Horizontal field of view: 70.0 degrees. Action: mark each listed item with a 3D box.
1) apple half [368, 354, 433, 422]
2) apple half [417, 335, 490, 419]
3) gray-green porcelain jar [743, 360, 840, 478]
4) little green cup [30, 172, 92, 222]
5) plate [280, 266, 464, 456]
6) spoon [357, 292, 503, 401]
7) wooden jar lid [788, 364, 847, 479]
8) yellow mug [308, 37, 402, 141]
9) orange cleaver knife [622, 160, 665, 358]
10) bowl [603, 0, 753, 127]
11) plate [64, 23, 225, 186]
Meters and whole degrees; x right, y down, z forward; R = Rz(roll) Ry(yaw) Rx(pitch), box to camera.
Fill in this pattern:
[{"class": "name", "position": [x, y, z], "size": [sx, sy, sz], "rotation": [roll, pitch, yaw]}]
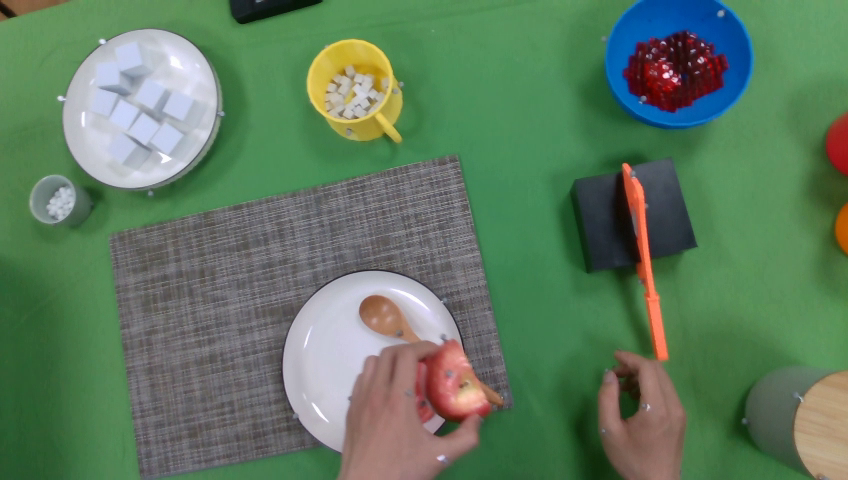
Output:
[{"class": "apple half", "position": [-0.028, 0.166, 0.670], "size": [0.081, 0.033, 0.081], "rotation": [-1, 81, 8]}, {"class": "apple half", "position": [0.022, 0.138, 0.586], "size": [0.053, 0.074, 0.081], "rotation": [-29, 96, -8]}, {"class": "gray-green porcelain jar", "position": [0.380, 0.171, 0.586], "size": [0.106, 0.127, 0.105], "rotation": [-1, 82, 8]}, {"class": "little green cup", "position": [-0.451, -0.051, 0.758], "size": [0.061, 0.039, 0.061], "rotation": [-1, 84, 5]}, {"class": "plate", "position": [-0.057, 0.134, 0.684], "size": [0.209, 0.038, 0.208], "rotation": [-1, 83, 7]}, {"class": "spoon", "position": [0.004, 0.119, 0.665], "size": [0.192, 0.022, 0.041], "rotation": [34, 86, 21]}, {"class": "wooden jar lid", "position": [0.371, 0.162, 0.524], "size": [0.108, 0.021, 0.108], "rotation": [-1, 85, 6]}, {"class": "yellow mug", "position": [-0.070, -0.167, 0.714], "size": [0.100, 0.064, 0.130], "rotation": [-41, 81, 0]}, {"class": "orange cleaver knife", "position": [0.232, 0.021, 0.644], "size": [0.012, 0.077, 0.212], "rotation": [-11, 105, 10]}, {"class": "bowl", "position": [0.269, -0.188, 0.668], "size": [0.151, 0.077, 0.151], "rotation": [-1, 83, 7]}, {"class": "plate", "position": [-0.345, -0.167, 0.761], "size": [0.207, 0.039, 0.207], "rotation": [-1, 83, 7]}]
